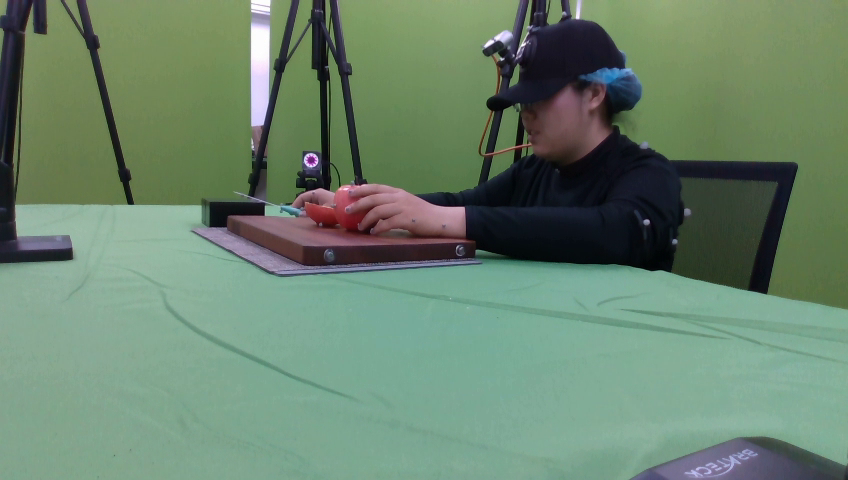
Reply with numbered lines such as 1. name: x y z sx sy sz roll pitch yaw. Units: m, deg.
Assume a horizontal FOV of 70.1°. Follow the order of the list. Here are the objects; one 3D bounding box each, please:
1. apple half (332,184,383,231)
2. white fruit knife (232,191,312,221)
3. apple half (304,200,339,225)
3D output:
1. apple half: -0.097 -0.050 0.948 0.081 0.074 0.053 0 11 -42
2. white fruit knife: -0.285 -0.065 1.221 0.208 0.016 0.027 18 -2 -30
3. apple half: -0.163 -0.040 1.000 0.081 0.033 0.081 16 -2 1
